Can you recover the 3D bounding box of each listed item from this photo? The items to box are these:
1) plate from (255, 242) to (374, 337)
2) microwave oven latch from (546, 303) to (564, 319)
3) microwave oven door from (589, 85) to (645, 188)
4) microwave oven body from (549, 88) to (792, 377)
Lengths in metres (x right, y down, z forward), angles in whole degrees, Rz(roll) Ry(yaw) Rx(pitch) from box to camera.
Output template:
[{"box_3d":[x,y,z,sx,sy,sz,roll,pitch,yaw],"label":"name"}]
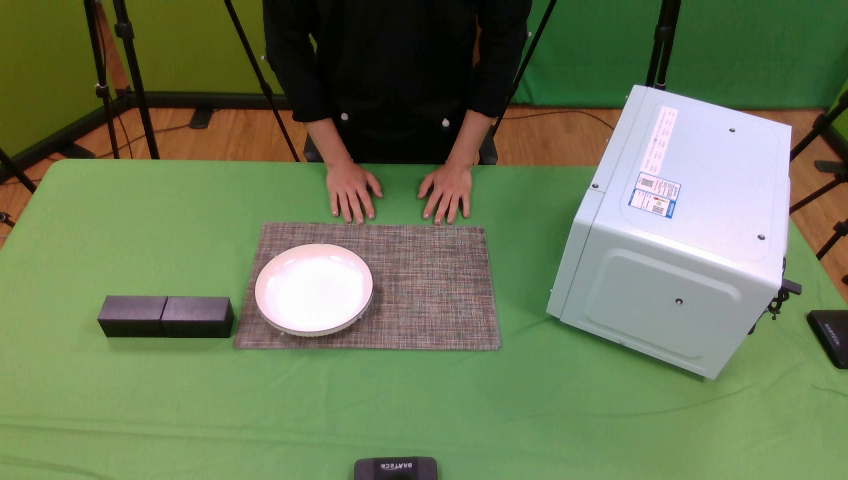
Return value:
[{"box_3d":[-0.192,0.090,1.079,0.208,0.039,0.206,2,46,-2],"label":"plate"},{"box_3d":[0.242,0.102,1.081,0.030,0.029,0.079,21,48,17],"label":"microwave oven latch"},{"box_3d":[0.342,-0.107,1.149,0.039,0.245,0.354,20,48,15],"label":"microwave oven door"},{"box_3d":[0.456,-0.028,1.088,0.325,0.261,0.440,20,47,16],"label":"microwave oven body"}]
